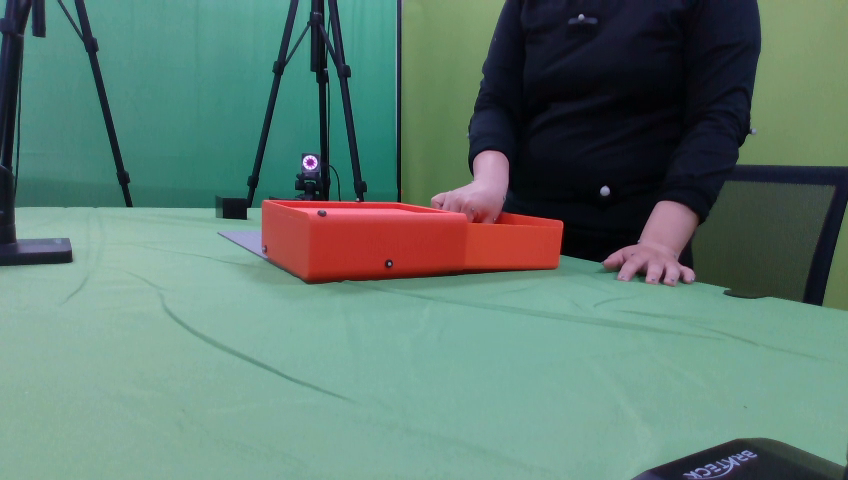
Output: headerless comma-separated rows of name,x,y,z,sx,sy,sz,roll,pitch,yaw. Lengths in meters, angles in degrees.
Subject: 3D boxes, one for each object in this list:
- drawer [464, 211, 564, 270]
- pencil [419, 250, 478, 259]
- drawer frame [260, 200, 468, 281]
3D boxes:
drawer,0.059,-0.004,0.880,0.213,0.073,0.193,0,8,-31
pencil,0.041,0.020,0.879,0.012,0.012,0.195,6,2,27
drawer frame,-0.083,-0.007,0.795,0.215,0.082,0.200,-2,9,-31
